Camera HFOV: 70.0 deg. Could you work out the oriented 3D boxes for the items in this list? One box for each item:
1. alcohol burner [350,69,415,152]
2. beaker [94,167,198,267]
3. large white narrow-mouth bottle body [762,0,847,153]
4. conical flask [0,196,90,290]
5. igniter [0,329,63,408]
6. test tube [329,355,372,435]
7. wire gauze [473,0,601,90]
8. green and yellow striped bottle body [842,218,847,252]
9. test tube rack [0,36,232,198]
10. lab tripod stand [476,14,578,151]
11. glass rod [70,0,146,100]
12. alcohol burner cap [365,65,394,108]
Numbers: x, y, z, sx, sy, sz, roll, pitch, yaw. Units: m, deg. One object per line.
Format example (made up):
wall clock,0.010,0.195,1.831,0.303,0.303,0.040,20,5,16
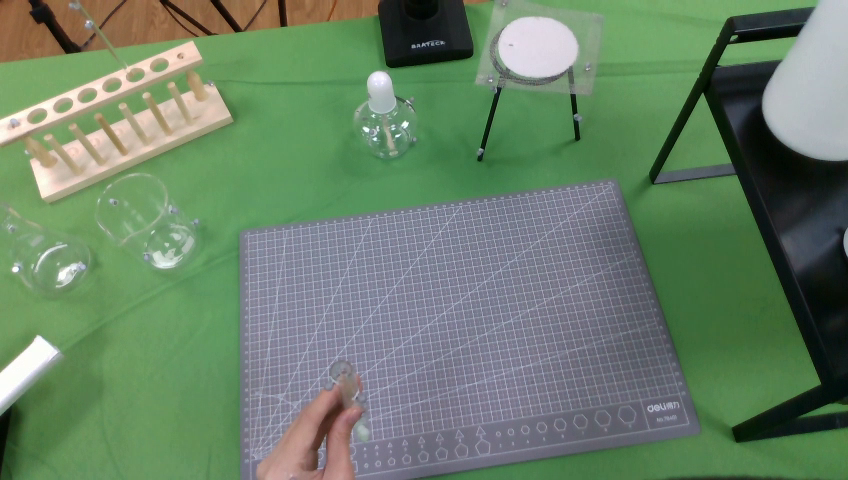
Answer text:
alcohol burner,-0.050,-0.158,0.712,0.078,0.120,0.077,0,62,1
beaker,-0.297,-0.018,0.659,0.074,0.101,0.083,6,65,5
large white narrow-mouth bottle body,0.332,-0.154,0.439,0.102,0.196,0.101,-3,63,5
conical flask,-0.421,-0.002,0.642,0.075,0.123,0.074,-1,63,2
igniter,-0.452,0.195,0.548,0.057,0.025,0.276,33,66,15
test tube,-0.054,0.124,0.467,0.017,0.151,0.017,-1,57,1
wire gauze,0.123,-0.214,0.647,0.121,0.011,0.124,12,66,6
green and yellow striped bottle body,0.361,-0.024,0.429,0.063,0.120,0.062,-1,63,2
test tube rack,-0.369,-0.148,0.732,0.242,0.086,0.066,-27,66,-11
lab tripod stand,0.119,-0.182,0.706,0.148,0.132,0.147,0,63,1
glass rod,-0.354,-0.213,0.689,0.008,0.201,0.008,-4,58,7
alcohol burner cap,-0.052,-0.175,0.679,0.034,0.048,0.033,0,63,1
